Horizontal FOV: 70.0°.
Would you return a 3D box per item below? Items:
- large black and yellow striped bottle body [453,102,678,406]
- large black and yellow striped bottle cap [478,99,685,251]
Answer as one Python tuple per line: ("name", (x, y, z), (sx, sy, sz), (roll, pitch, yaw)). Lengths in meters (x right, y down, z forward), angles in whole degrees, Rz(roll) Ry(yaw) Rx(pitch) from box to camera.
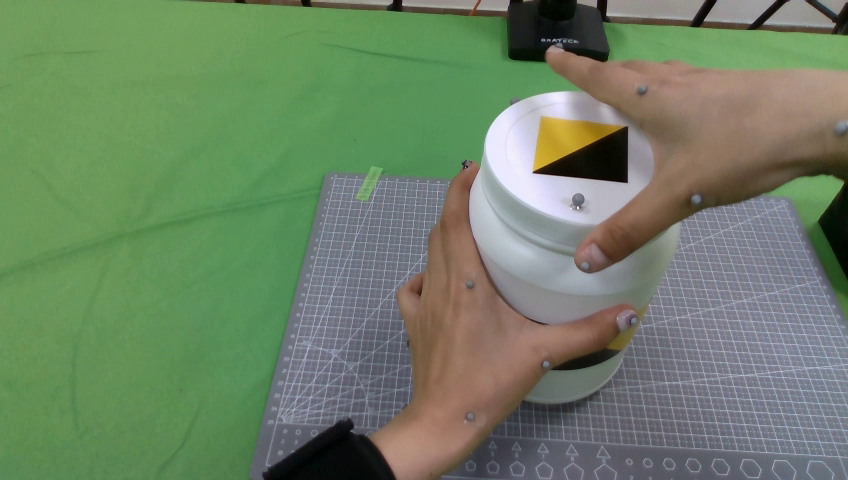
("large black and yellow striped bottle body", (0.089, 0.014, 0.408), (0.131, 0.185, 0.129), (1, 49, -1))
("large black and yellow striped bottle cap", (0.088, -0.041, 0.344), (0.115, 0.019, 0.114), (1, 47, -1))
